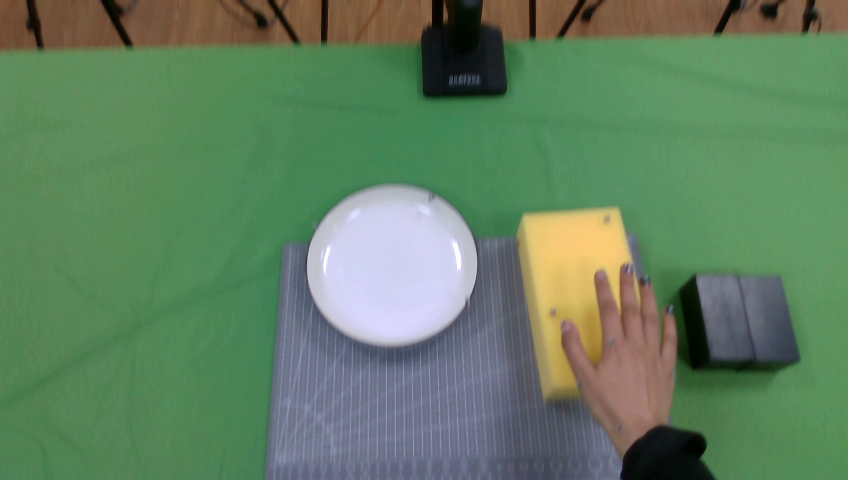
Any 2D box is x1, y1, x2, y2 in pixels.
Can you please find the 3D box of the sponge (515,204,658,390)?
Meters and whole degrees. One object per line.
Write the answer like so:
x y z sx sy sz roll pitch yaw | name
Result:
0.183 0.064 0.709 0.118 0.061 0.205 -5 66 -3 | sponge

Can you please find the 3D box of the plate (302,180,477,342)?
-0.040 0.026 0.736 0.209 0.038 0.207 0 66 -1 | plate
